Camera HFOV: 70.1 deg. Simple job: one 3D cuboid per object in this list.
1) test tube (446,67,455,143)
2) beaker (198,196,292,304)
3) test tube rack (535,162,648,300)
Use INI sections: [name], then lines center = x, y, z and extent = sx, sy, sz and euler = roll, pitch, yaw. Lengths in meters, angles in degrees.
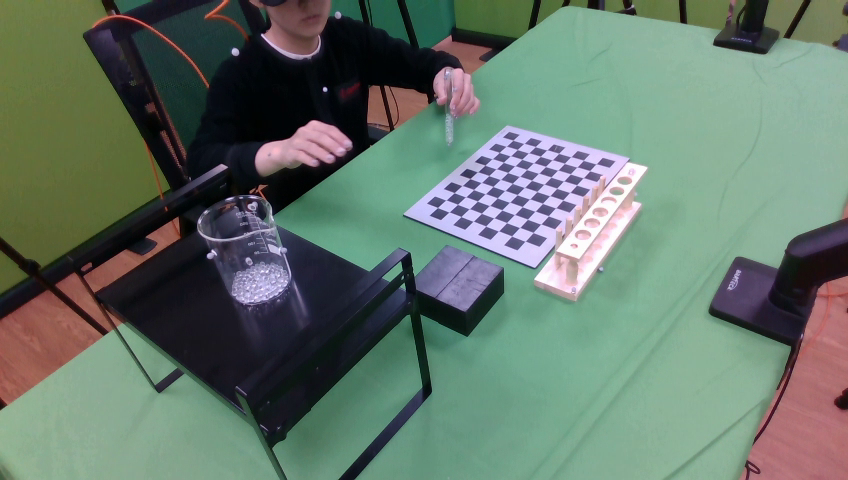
[test tube]
center = 0.049, -0.244, 1.107
extent = 0.017, 0.151, 0.017
euler = -1, 42, 2
[beaker]
center = -0.185, 0.014, 0.651
extent = 0.083, 0.101, 0.074
euler = 9, 44, 18
[test tube rack]
center = 0.257, -0.024, 0.916
extent = 0.066, 0.085, 0.243
euler = 22, 49, 30
